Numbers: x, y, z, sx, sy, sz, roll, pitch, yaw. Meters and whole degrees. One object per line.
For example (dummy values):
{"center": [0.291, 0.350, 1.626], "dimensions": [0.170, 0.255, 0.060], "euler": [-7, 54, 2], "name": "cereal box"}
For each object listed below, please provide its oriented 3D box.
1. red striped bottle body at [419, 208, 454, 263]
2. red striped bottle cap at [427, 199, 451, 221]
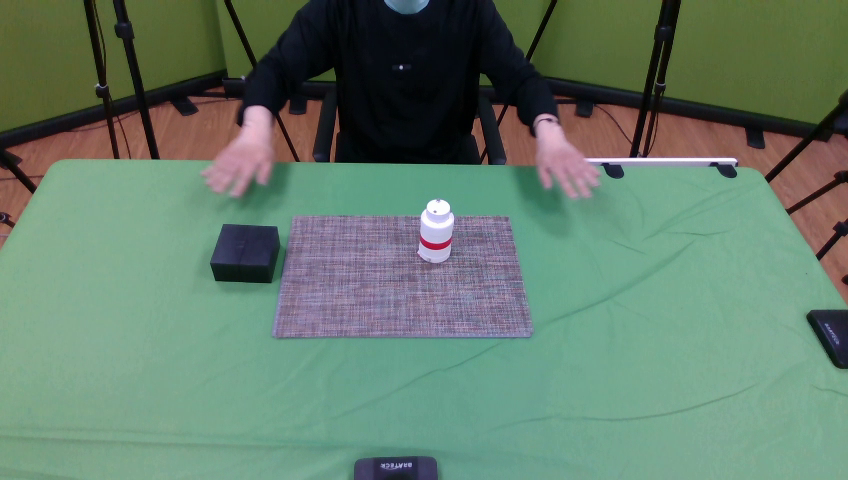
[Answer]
{"center": [0.024, -0.018, 1.140], "dimensions": [0.063, 0.120, 0.062], "euler": [2, 45, -1], "name": "red striped bottle body"}
{"center": [0.027, -0.056, 1.103], "dimensions": [0.044, 0.018, 0.044], "euler": [0, 46, 0], "name": "red striped bottle cap"}
